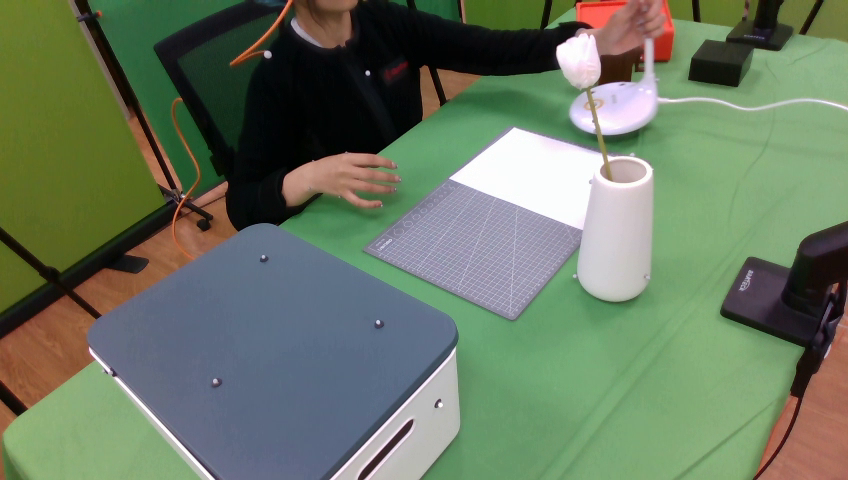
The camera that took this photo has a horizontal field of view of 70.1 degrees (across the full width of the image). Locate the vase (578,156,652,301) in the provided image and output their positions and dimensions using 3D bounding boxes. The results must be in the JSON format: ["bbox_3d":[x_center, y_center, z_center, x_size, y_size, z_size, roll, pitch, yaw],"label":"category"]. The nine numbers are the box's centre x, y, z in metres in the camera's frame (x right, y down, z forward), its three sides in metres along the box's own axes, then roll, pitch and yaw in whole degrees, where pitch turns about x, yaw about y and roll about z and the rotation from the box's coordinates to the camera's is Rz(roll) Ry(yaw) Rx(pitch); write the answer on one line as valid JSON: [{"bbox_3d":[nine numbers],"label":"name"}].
[{"bbox_3d":[0.261,-0.011,0.812,0.098,0.201,0.097,-4,40,4],"label":"vase"}]

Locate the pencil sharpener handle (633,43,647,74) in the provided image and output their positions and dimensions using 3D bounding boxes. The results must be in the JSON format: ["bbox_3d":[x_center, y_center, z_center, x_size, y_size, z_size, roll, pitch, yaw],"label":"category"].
[{"bbox_3d":[0.454,-0.378,1.262,0.030,0.068,0.036,1,47,13],"label":"pencil sharpener handle"}]

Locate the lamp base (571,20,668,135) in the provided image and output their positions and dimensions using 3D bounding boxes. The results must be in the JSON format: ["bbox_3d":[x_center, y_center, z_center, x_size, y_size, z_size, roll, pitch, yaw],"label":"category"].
[{"bbox_3d":[0.360,-0.310,1.107,0.179,0.181,0.159,-9,42,4],"label":"lamp base"}]

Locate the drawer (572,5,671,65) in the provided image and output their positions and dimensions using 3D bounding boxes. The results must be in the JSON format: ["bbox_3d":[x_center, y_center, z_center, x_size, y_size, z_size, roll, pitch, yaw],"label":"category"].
[{"bbox_3d":[0.461,-0.489,1.435,0.211,0.073,0.194,2,40,12],"label":"drawer"}]

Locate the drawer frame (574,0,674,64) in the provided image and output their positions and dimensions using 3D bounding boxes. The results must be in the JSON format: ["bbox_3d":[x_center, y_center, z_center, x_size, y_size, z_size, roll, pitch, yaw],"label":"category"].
[{"bbox_3d":[0.464,-0.492,1.434,0.213,0.083,0.201,1,40,12],"label":"drawer frame"}]

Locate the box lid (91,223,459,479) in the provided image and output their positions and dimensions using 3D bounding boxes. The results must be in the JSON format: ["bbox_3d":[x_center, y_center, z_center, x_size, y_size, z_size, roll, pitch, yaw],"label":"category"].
[{"bbox_3d":[-0.174,0.102,0.666,0.368,0.015,0.264,24,48,35],"label":"box lid"}]

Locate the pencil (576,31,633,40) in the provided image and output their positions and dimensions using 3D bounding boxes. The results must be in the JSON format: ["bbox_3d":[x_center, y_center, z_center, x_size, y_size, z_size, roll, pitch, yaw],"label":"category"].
[{"bbox_3d":[0.430,-0.487,1.443,0.012,0.012,0.192,-25,30,-18],"label":"pencil"}]

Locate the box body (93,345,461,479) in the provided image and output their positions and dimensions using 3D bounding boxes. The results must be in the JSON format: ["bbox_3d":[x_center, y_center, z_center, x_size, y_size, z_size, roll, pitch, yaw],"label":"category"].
[{"bbox_3d":[-0.162,0.170,0.708,0.361,0.161,0.255,25,50,34],"label":"box body"}]

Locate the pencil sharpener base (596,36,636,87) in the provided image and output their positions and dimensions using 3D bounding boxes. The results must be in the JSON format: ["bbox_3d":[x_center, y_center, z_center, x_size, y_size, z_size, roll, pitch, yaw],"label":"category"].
[{"bbox_3d":[0.405,-0.369,1.280,0.076,0.107,0.061,1,41,13],"label":"pencil sharpener base"}]

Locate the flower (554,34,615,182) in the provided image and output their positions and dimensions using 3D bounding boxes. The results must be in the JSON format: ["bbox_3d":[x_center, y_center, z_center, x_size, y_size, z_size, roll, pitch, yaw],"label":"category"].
[{"bbox_3d":[0.237,-0.083,0.774,0.044,0.363,0.038,-23,26,6],"label":"flower"}]
